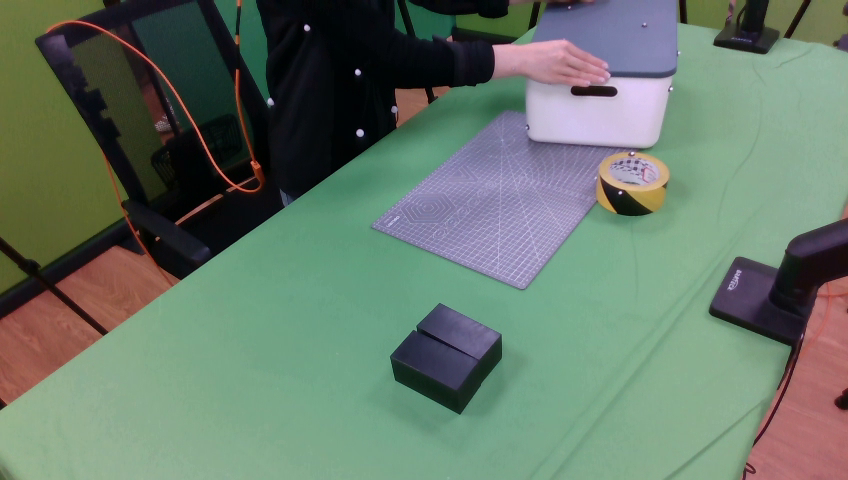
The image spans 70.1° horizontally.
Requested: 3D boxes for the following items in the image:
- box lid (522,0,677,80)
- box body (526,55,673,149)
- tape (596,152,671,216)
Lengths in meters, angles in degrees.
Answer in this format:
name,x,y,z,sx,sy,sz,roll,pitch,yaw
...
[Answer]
name,x,y,z,sx,sy,sz,roll,pitch,yaw
box lid,0.346,-0.397,1.163,0.262,0.015,0.371,6,42,17
box body,0.356,-0.342,1.212,0.253,0.161,0.363,7,42,17
tape,0.349,-0.095,1.009,0.117,0.053,0.116,-3,42,3
